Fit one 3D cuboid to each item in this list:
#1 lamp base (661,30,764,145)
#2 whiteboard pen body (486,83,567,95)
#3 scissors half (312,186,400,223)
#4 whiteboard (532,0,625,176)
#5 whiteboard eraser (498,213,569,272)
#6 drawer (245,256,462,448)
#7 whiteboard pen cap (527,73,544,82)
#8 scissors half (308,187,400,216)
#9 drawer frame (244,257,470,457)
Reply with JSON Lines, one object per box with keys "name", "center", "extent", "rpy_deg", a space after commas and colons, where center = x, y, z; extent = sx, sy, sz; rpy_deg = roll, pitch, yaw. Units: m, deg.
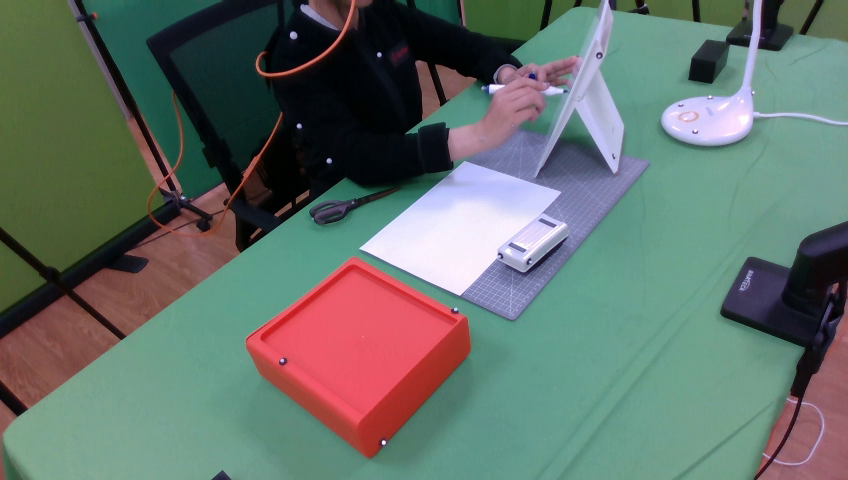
{"name": "lamp base", "center": [0.535, -0.287, 1.096], "extent": [0.179, 0.181, 0.159], "rpy_deg": [-10, 40, -4]}
{"name": "whiteboard pen body", "center": [0.177, -0.261, 1.045], "extent": [0.140, 0.017, 0.017], "rpy_deg": [4, 42, 8]}
{"name": "scissors half", "center": [-0.118, -0.066, 1.088], "extent": [0.176, 0.013, 0.040], "rpy_deg": [-25, 38, -24]}
{"name": "whiteboard", "center": [0.320, -0.259, 1.050], "extent": [0.144, 0.306, 0.217], "rpy_deg": [21, 45, 5]}
{"name": "whiteboard eraser", "center": [0.168, 0.006, 0.924], "extent": [0.113, 0.042, 0.055], "rpy_deg": [-36, 48, -28]}
{"name": "drawer", "center": [-0.089, 0.136, 0.792], "extent": [0.210, 0.073, 0.195], "rpy_deg": [26, 51, 34]}
{"name": "whiteboard pen cap", "center": [0.214, -0.313, 1.163], "extent": [0.033, 0.018, 0.018], "rpy_deg": [-6, 33, -37]}
{"name": "scissors half", "center": [-0.126, -0.075, 1.105], "extent": [0.176, 0.013, 0.039], "rpy_deg": [-15, 29, -10]}
{"name": "drawer frame", "center": [-0.084, 0.138, 0.788], "extent": [0.212, 0.083, 0.202], "rpy_deg": [25, 50, 33]}
